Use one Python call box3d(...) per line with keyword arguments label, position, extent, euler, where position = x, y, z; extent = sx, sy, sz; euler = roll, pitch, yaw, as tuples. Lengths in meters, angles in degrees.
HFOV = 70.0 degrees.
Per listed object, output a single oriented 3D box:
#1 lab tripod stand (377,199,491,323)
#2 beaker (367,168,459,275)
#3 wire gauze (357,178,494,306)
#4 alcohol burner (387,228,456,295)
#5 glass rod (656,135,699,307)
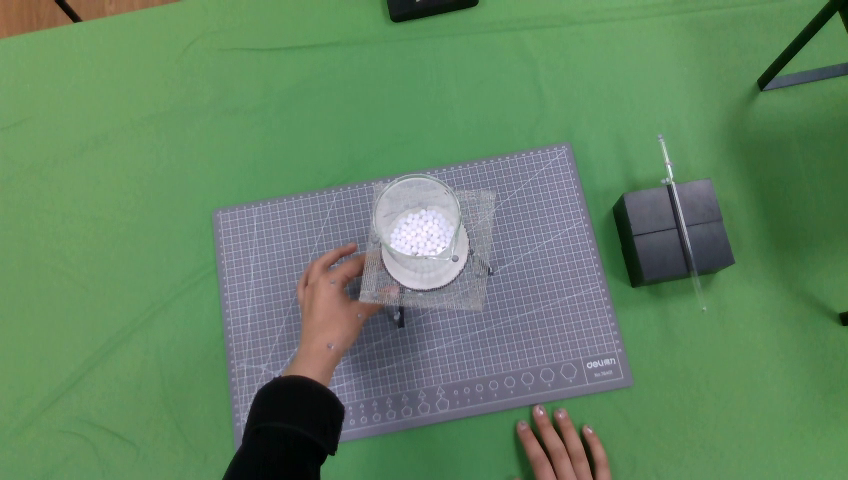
box3d(label="lab tripod stand", position=(0.000, 0.016, 0.654), extent=(0.148, 0.132, 0.147), euler=(-1, 76, 5))
box3d(label="beaker", position=(-0.003, -0.009, 0.542), extent=(0.074, 0.101, 0.083), euler=(-38, 77, -6))
box3d(label="wire gauze", position=(0.003, 0.001, 0.589), extent=(0.121, 0.011, 0.124), euler=(6, 74, 3))
box3d(label="alcohol burner", position=(-0.004, 0.020, 0.663), extent=(0.078, 0.119, 0.077), euler=(-1, 78, 3))
box3d(label="glass rod", position=(0.280, -0.024, 0.669), extent=(0.008, 0.008, 0.198), euler=(-8, 77, 1))
